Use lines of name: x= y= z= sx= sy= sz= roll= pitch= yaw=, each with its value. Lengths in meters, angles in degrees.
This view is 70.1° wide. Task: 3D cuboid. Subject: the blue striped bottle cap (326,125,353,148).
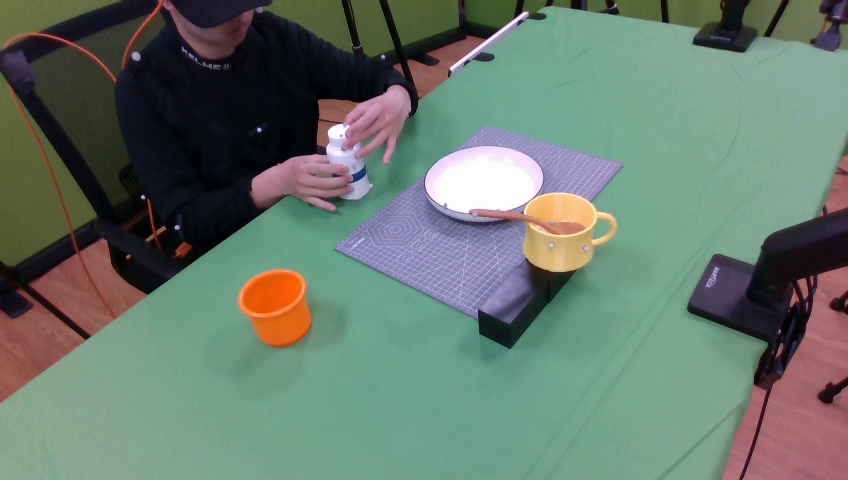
blue striped bottle cap: x=-0.144 y=-0.178 z=1.034 sx=0.044 sy=0.021 sz=0.044 roll=-2 pitch=44 yaw=3

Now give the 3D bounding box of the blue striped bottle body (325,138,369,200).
blue striped bottle body: x=-0.138 y=-0.136 z=1.071 sx=0.063 sy=0.121 sz=0.063 roll=-4 pitch=40 yaw=4

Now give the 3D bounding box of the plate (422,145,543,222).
plate: x=0.101 y=-0.094 z=1.048 sx=0.207 sy=0.039 sz=0.206 roll=-4 pitch=41 yaw=4

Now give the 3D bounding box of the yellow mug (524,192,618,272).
yellow mug: x=0.206 y=-0.014 z=0.845 sx=0.131 sy=0.064 sz=0.099 roll=-4 pitch=41 yaw=2

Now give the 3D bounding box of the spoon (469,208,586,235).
spoon: x=0.143 y=-0.026 z=0.817 sx=0.195 sy=0.021 sz=0.041 roll=12 pitch=35 yaw=-29
